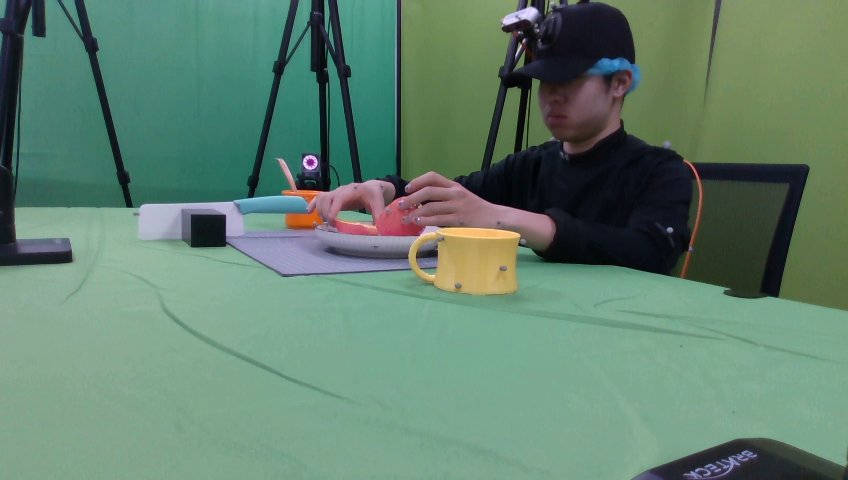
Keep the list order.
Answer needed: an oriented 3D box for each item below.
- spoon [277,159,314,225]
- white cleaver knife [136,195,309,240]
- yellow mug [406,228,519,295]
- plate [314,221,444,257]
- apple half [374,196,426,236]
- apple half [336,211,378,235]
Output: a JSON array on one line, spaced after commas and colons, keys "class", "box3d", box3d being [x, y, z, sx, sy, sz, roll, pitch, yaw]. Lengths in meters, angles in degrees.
[{"class": "spoon", "box3d": [-0.272, -0.103, 1.260, 0.042, 0.193, 0.021, -5, -34, -33]}, {"class": "white cleaver knife", "box3d": [-0.337, -0.039, 1.037, 0.288, 0.066, 0.021, -6, 15, -29]}, {"class": "yellow mug", "box3d": [0.044, 0.022, 0.706, 0.131, 0.064, 0.100, 2, 7, 5]}, {"class": "plate", "box3d": [-0.066, -0.002, 0.948, 0.209, 0.038, 0.209, 3, 7, 0]}, {"class": "apple half", "box3d": [-0.032, -0.024, 0.927, 0.074, 0.053, 0.081, -38, -16, 9]}, {"class": "apple half", "box3d": [-0.108, -0.012, 0.968, 0.081, 0.033, 0.081, 31, 3, -2]}]
